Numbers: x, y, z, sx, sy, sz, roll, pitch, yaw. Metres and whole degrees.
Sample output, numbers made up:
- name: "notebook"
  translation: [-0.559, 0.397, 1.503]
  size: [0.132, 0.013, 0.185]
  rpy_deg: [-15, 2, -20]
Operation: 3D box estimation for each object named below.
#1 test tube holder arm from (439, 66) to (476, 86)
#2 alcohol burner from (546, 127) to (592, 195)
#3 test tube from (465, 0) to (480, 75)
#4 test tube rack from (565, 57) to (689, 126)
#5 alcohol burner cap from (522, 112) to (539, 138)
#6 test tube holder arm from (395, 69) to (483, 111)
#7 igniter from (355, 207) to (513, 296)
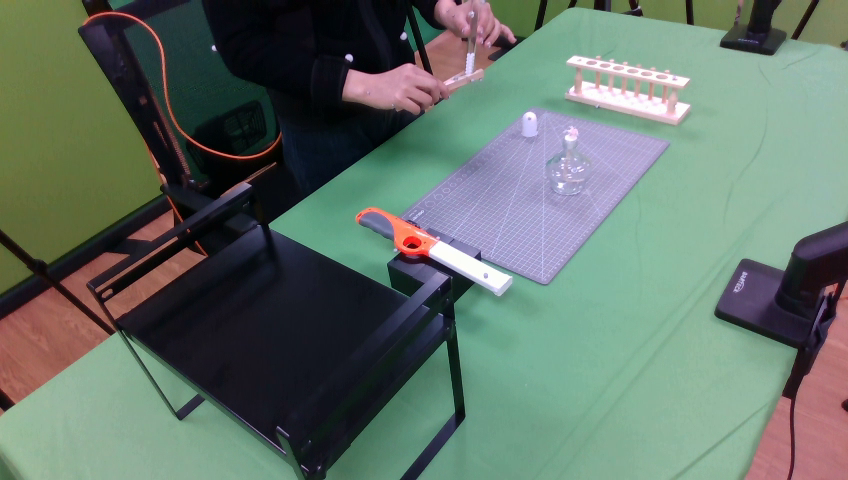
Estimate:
- name: "test tube holder arm"
  translation: [0.060, -0.284, 1.068]
  size: [0.010, 0.015, 0.088]
  rpy_deg: [27, 51, 37]
- name: "alcohol burner"
  translation: [0.247, -0.137, 1.023]
  size: [0.078, 0.119, 0.077]
  rpy_deg: [-4, 38, 4]
- name: "test tube"
  translation: [0.082, -0.347, 1.033]
  size: [0.017, 0.150, 0.017]
  rpy_deg: [2, 35, -1]
- name: "test tube rack"
  translation: [0.412, -0.311, 1.230]
  size: [0.240, 0.085, 0.067]
  rpy_deg: [23, 49, 32]
- name: "alcohol burner cap"
  translation: [0.210, -0.230, 1.195]
  size: [0.034, 0.048, 0.033]
  rpy_deg: [-5, 41, 5]
- name: "test tube holder arm"
  translation: [0.028, -0.260, 1.045]
  size: [0.179, 0.015, 0.013]
  rpy_deg: [-28, 41, -21]
- name: "igniter"
  translation: [0.006, 0.010, 0.885]
  size: [0.274, 0.025, 0.057]
  rpy_deg: [27, 53, 30]
